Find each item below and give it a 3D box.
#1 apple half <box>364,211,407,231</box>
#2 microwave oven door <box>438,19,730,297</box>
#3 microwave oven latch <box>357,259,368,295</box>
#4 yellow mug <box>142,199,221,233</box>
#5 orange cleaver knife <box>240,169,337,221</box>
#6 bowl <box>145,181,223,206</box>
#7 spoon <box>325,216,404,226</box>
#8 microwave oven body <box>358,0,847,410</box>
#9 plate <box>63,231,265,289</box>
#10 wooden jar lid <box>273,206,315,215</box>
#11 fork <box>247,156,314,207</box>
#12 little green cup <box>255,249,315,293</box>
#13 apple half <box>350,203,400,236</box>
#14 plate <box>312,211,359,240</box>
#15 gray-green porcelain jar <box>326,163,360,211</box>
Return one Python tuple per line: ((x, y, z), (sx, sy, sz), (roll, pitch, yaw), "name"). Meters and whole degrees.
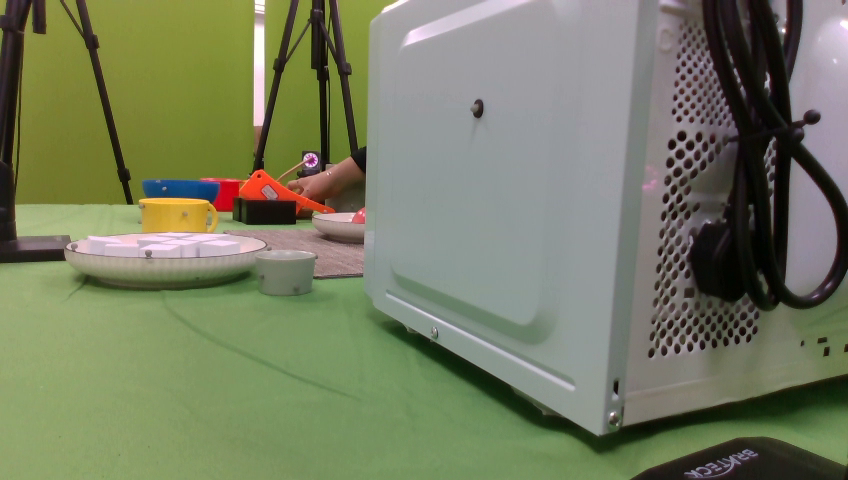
((-0.068, -0.037, 1.104), (0.081, 0.033, 0.081), (-1, 9, 0), "apple half")
((0.181, -0.076, 0.618), (0.358, 0.243, 0.039), (-2, 8, -28), "microwave oven door")
((-0.019, 0.031, 0.529), (0.079, 0.029, 0.030), (-1, 7, -26), "microwave oven latch")
((-0.372, -0.030, 0.948), (0.099, 0.064, 0.131), (6, 7, 30), "yellow mug")
((-0.287, -0.081, 1.299), (0.212, 0.077, 0.012), (25, -2, -31), "orange cleaver knife")
((-0.499, -0.081, 1.261), (0.151, 0.077, 0.151), (2, 7, 0), "bowl")
((-0.120, -0.043, 1.272), (0.195, 0.021, 0.041), (-5, -12, -38), "spoon")
((0.210, -0.051, 0.471), (0.444, 0.260, 0.324), (-1, 7, -28), "microwave oven body")
((-0.288, 0.021, 0.687), (0.208, 0.039, 0.207), (2, 8, 0), "plate")
((-0.304, -0.069, 1.409), (0.108, 0.020, 0.108), (1, 7, 0), "wooden jar lid")
((-0.360, -0.147, 1.523), (0.207, 0.018, 0.028), (-43, 16, -6), "fork")
((-0.144, 0.032, 0.627), (0.061, 0.038, 0.061), (2, 5, 0), "little green cup")
((-0.081, -0.036, 1.024), (0.081, 0.053, 0.074), (-3, 11, -34), "apple half")
((-0.091, -0.026, 1.063), (0.209, 0.038, 0.209), (2, 7, 0), "plate")
((-0.187, -0.125, 1.489), (0.106, 0.126, 0.106), (2, 8, 0), "gray-green porcelain jar")
